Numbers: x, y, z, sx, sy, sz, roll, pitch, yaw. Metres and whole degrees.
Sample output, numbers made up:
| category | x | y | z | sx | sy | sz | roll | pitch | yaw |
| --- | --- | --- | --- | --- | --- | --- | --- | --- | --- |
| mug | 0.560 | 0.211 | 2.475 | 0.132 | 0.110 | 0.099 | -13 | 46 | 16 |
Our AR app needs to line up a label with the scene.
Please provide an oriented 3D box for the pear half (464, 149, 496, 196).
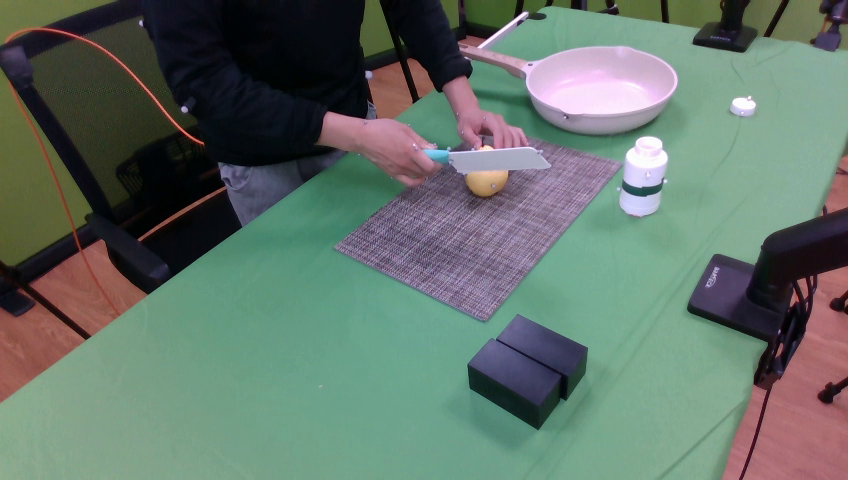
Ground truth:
| category | x | y | z | sx | sy | sz | roll | pitch | yaw |
| --- | --- | --- | --- | --- | --- | --- | --- | --- | --- |
| pear half | 0.089 | -0.111 | 1.026 | 0.070 | 0.088 | 0.031 | 30 | 53 | 32 |

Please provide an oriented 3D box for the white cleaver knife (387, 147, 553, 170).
| category | x | y | z | sx | sy | sz | roll | pitch | yaw |
| --- | --- | --- | --- | --- | --- | --- | --- | --- | --- |
| white cleaver knife | 0.059 | -0.122 | 0.933 | 0.284 | 0.066 | 0.021 | 6 | 68 | 37 |

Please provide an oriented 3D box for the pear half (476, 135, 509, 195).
| category | x | y | z | sx | sy | sz | roll | pitch | yaw |
| --- | --- | --- | --- | --- | --- | --- | --- | --- | --- |
| pear half | 0.114 | -0.136 | 1.037 | 0.076 | 0.110 | 0.056 | 30 | 52 | 32 |

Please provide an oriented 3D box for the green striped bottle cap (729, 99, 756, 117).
| category | x | y | z | sx | sy | sz | roll | pitch | yaw |
| --- | --- | --- | --- | --- | --- | --- | --- | --- | --- |
| green striped bottle cap | 0.623 | -0.259 | 1.182 | 0.044 | 0.020 | 0.044 | -3 | 40 | 3 |

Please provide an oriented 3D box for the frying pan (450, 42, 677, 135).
| category | x | y | z | sx | sy | sz | roll | pitch | yaw |
| --- | --- | --- | --- | --- | --- | --- | --- | --- | --- |
| frying pan | 0.268 | -0.344 | 1.267 | 0.485 | 0.103 | 0.307 | 25 | 49 | 21 |

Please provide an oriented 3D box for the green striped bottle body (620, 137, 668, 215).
| category | x | y | z | sx | sy | sz | roll | pitch | yaw |
| --- | --- | --- | --- | --- | --- | --- | --- | --- | --- |
| green striped bottle body | 0.350 | -0.103 | 0.963 | 0.063 | 0.120 | 0.063 | -4 | 41 | 4 |
